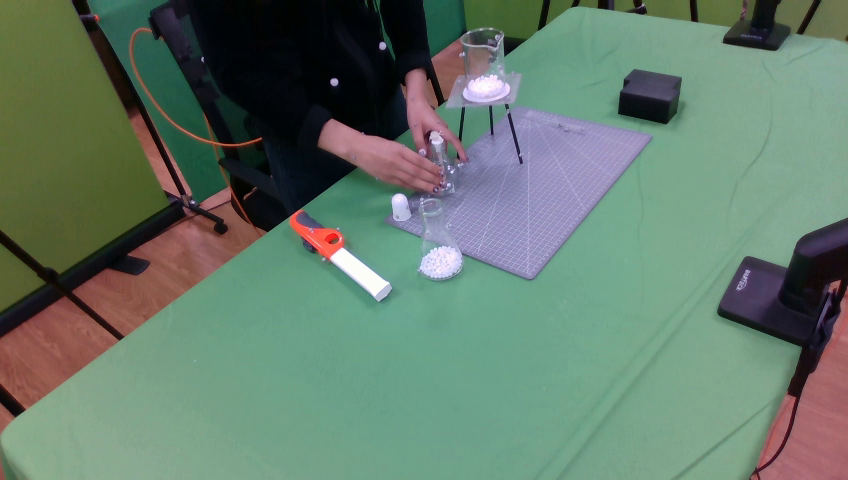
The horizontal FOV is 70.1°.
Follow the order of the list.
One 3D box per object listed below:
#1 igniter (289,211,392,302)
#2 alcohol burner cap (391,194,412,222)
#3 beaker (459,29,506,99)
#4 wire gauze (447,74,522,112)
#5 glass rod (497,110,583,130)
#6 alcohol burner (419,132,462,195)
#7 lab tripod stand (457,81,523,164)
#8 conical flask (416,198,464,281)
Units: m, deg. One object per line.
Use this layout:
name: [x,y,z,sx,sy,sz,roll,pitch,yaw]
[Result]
igniter: [-0.146,0.019,0.986,0.057,0.025,0.274,-40,48,-18]
alcohol burner cap: [-0.041,-0.057,1.040,0.034,0.048,0.033,-6,40,5]
beaker: [0.107,-0.305,1.056,0.074,0.101,0.083,-27,43,-18]
wire gauze: [0.110,-0.268,1.087,0.121,0.011,0.125,1,42,15]
glass rod: [0.233,-0.245,1.235,0.198,0.008,0.008,20,49,34]
alcohol burner: [0.028,-0.139,1.069,0.078,0.119,0.077,-4,39,4]
lab tripod stand: [0.120,-0.220,1.130,0.148,0.132,0.147,-7,39,6]
conical flask: [0.019,-0.004,0.907,0.075,0.122,0.075,-5,40,5]
